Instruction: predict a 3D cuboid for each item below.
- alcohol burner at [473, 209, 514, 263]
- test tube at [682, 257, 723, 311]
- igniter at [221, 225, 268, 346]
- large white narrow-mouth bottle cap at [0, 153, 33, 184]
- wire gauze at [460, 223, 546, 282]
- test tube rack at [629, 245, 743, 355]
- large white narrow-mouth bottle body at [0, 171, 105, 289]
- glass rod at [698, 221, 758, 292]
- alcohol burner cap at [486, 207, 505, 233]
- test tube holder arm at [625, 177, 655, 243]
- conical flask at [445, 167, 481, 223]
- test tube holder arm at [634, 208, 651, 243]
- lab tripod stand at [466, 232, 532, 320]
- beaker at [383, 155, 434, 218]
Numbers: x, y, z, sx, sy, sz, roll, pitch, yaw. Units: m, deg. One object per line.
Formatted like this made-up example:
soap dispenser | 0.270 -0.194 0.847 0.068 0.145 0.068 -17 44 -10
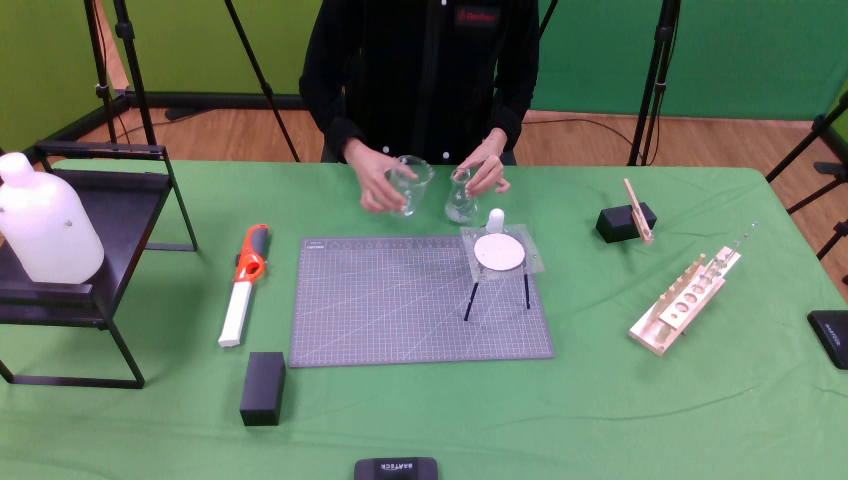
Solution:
alcohol burner | 0.134 -0.013 1.150 0.078 0.120 0.077 1 47 0
test tube | 0.475 0.080 1.038 0.017 0.151 0.017 1 50 -1
igniter | -0.323 0.072 1.100 0.057 0.025 0.274 -6 45 5
large white narrow-mouth bottle cap | -0.510 -0.089 0.754 0.038 0.024 0.037 2 46 -2
wire gauze | 0.131 0.016 1.015 0.121 0.011 0.124 -5 45 -8
test tube rack | 0.474 0.095 1.091 0.242 0.085 0.066 -34 56 -31
large white narrow-mouth bottle body | -0.513 -0.029 0.818 0.102 0.195 0.101 2 46 -2
glass rod | 0.527 0.036 1.059 0.008 0.200 0.008 5 49 -6
alcohol burner cap | 0.135 -0.039 1.125 0.034 0.048 0.033 4 42 -4
test tube holder arm | 0.433 -0.062 1.220 0.013 0.015 0.177 1 47 -3
conical flask | 0.076 -0.094 1.206 0.075 0.122 0.075 -3 59 4
test tube holder arm | 0.428 -0.030 1.189 0.010 0.015 0.087 1 47 -2
lab tripod stand | 0.125 0.059 1.065 0.148 0.132 0.147 1 45 0
beaker | -0.032 -0.097 1.125 0.084 0.100 0.073 -2 54 -19
